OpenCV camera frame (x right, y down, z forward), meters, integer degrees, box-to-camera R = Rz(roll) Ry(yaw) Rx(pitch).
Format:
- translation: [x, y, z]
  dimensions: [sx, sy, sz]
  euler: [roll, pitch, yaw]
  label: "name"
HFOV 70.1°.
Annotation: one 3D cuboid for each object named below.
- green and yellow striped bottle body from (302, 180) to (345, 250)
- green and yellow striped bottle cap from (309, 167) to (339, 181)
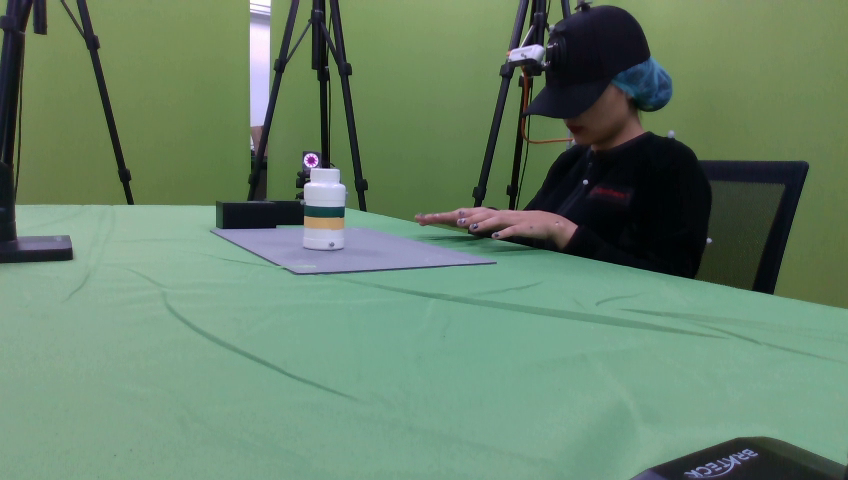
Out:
- translation: [-0.152, -0.047, 0.918]
  dimensions: [0.063, 0.119, 0.063]
  euler: [3, 8, 0]
  label: "green and yellow striped bottle body"
- translation: [-0.150, -0.098, 0.912]
  dimensions: [0.045, 0.020, 0.045]
  euler: [4, 8, 0]
  label: "green and yellow striped bottle cap"
